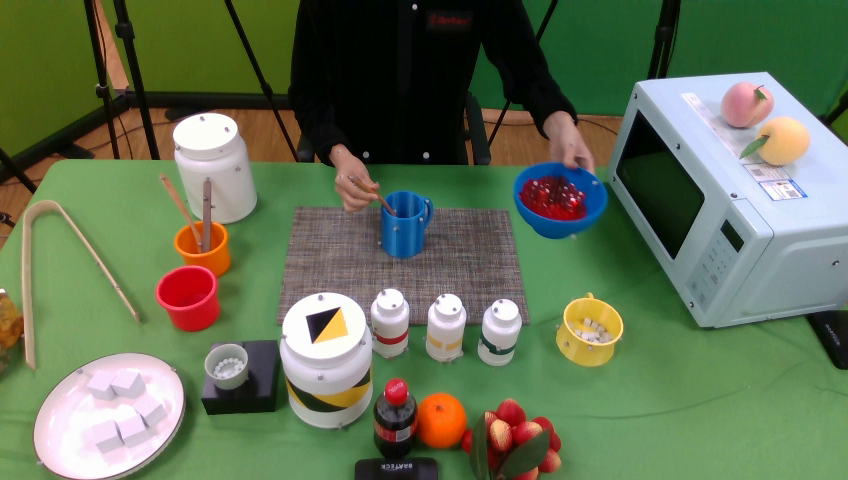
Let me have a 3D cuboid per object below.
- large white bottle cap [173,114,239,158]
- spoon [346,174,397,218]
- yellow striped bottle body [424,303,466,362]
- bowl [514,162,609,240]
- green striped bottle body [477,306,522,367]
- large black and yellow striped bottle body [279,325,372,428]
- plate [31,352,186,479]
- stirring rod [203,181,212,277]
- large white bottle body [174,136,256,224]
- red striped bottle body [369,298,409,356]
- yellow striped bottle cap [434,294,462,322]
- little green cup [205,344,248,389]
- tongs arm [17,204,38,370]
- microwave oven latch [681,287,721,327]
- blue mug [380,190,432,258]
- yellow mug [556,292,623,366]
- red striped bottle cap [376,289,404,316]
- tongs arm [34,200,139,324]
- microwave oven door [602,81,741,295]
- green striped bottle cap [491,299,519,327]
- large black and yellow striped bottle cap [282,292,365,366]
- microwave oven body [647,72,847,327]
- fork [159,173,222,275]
[{"bbox_3d":[-0.403,-0.195,1.122,0.115,0.018,0.114,2,47,-2],"label":"large white bottle cap"},{"bbox_3d":[-0.079,-0.069,1.111,0.021,0.195,0.041,-44,44,2],"label":"spoon"},{"bbox_3d":[0.034,0.143,0.995,0.063,0.121,0.062,3,47,-3],"label":"yellow striped bottle body"},{"bbox_3d":[0.221,-0.053,1.005,0.151,0.077,0.150,0,46,0],"label":"bowl"},{"bbox_3d":[0.124,0.151,0.995,0.063,0.120,0.063,2,46,-2],"label":"green striped bottle body"},{"bbox_3d":[-0.143,0.181,0.900,0.131,0.185,0.130,2,46,-2],"label":"large black and yellow striped bottle body"},{"bbox_3d":[-0.459,0.262,0.898,0.209,0.038,0.208,2,46,-2],"label":"plate"},{"bbox_3d":[-0.396,-0.021,1.108,0.014,0.006,0.176,-1,89,-1],"label":"stirring rod"},{"bbox_3d":[-0.408,-0.137,1.183,0.131,0.185,0.130,2,46,-2],"label":"large white bottle body"},{"bbox_3d":[-0.058,0.134,0.997,0.063,0.120,0.062,4,47,-4],"label":"red striped bottle body"},{"bbox_3d":[0.037,0.107,0.958,0.044,0.019,0.044,2,45,-2],"label":"yellow striped bottle cap"},{"bbox_3d":[-0.294,0.191,0.909,0.061,0.039,0.061,2,47,-2],"label":"little green cup"},{"bbox_3d":[-0.698,0.069,1.068,0.028,0.028,0.385,-20,50,-13],"label":"tongs arm"},{"bbox_3d":[0.494,0.119,1.087,0.030,0.029,0.078,-6,46,-9],"label":"microwave oven latch"},{"bbox_3d":[-0.031,-0.037,1.169,0.116,0.106,0.082,-29,55,-28],"label":"blue mug"},{"bbox_3d":[0.285,0.146,1.051,0.100,0.064,0.130,7,45,3],"label":"yellow mug"},{"bbox_3d":[-0.054,0.098,0.958,0.044,0.018,0.044,0,48,0],"label":"red striped bottle cap"},{"bbox_3d":[-0.622,0.034,1.105,0.051,0.026,0.382,-32,55,-26],"label":"tongs arm"},{"bbox_3d":[0.455,-0.107,1.162,0.039,0.245,0.353,-6,47,-11],"label":"microwave oven door"},{"bbox_3d":[0.128,0.115,0.958,0.044,0.020,0.044,1,47,-1],"label":"green striped bottle cap"},{"bbox_3d":[-0.138,0.121,0.841,0.115,0.019,0.114,3,47,-3],"label":"large black and yellow striped bottle cap"},{"bbox_3d":[0.607,-0.089,1.164,0.326,0.261,0.438,-7,46,-10],"label":"microwave oven body"},{"bbox_3d":[-0.427,-0.029,1.103,0.028,0.018,0.207,-31,99,-30],"label":"fork"}]
